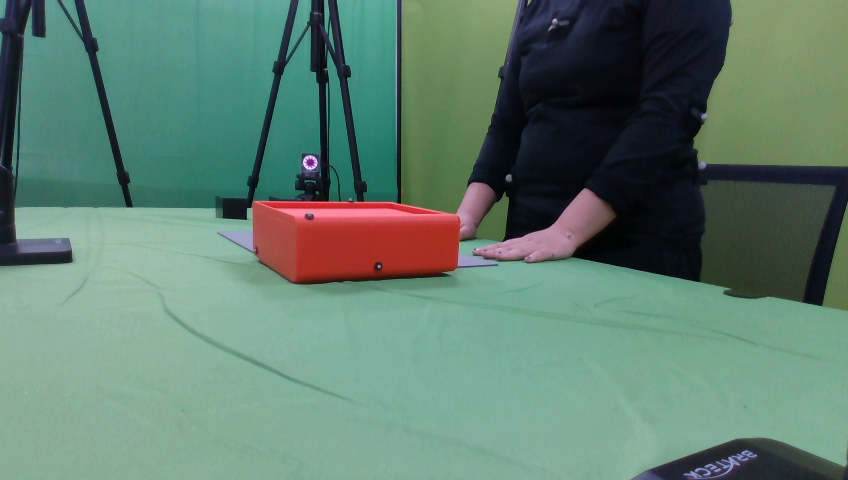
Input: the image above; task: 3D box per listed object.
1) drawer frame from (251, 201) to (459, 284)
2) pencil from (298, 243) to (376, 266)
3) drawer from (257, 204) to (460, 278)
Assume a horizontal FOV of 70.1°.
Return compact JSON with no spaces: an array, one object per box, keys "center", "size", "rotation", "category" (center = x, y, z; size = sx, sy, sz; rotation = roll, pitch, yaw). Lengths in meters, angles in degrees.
[{"center":[-0.094,-0.005,0.788],"size":[0.215,0.082,0.200],"rotation":[-3,10,-30],"category":"drawer frame"},{"center":[-0.107,0.016,0.791],"size":[0.012,0.012,0.195],"rotation":[6,8,22],"category":"pencil"},{"center":[-0.090,-0.004,0.793],"size":[0.213,0.073,0.193],"rotation":[-3,10,-29],"category":"drawer"}]
